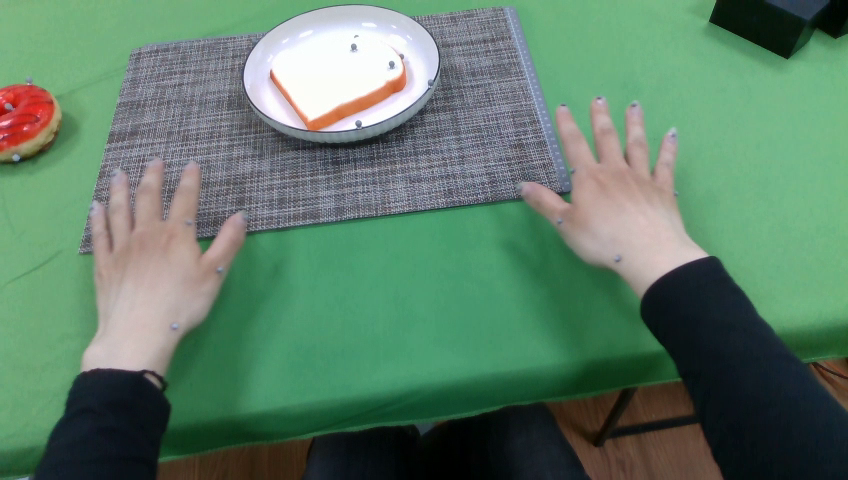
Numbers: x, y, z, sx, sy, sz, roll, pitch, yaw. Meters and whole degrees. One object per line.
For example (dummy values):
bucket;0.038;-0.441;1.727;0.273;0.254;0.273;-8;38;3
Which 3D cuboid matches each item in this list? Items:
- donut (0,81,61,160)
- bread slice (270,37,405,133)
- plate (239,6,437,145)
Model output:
donut;-0.432;-0.126;0.633;0.099;0.049;0.098;-3;55;4
bread slice;-0.089;-0.176;0.652;0.131;0.019;0.104;-29;59;-16
plate;-0.089;-0.173;0.649;0.207;0.039;0.205;-1;54;2
